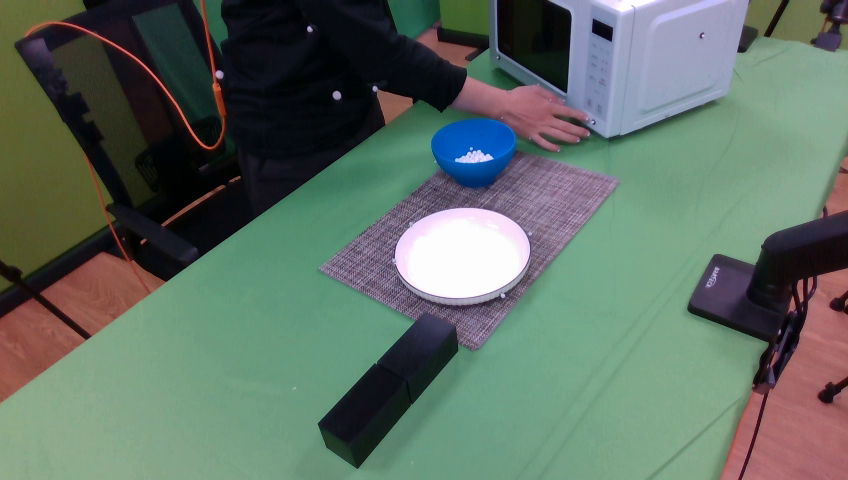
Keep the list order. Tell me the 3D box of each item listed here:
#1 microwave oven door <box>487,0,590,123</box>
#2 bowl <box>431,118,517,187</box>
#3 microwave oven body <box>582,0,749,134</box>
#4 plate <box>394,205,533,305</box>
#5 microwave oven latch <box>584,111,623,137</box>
[{"bbox_3d":[0.232,-0.420,1.231,0.039,0.245,0.352,-22,43,-16],"label":"microwave oven door"},{"bbox_3d":[0.090,-0.147,1.080,0.151,0.077,0.150,-4,41,4],"label":"bowl"},{"bbox_3d":[0.382,-0.444,1.246,0.327,0.261,0.437,-22,42,-16],"label":"microwave oven body"},{"bbox_3d":[0.059,0.025,0.915,0.207,0.039,0.206,-4,41,4],"label":"plate"},{"bbox_3d":[0.336,-0.222,1.142,0.030,0.029,0.078,-22,42,-15],"label":"microwave oven latch"}]
